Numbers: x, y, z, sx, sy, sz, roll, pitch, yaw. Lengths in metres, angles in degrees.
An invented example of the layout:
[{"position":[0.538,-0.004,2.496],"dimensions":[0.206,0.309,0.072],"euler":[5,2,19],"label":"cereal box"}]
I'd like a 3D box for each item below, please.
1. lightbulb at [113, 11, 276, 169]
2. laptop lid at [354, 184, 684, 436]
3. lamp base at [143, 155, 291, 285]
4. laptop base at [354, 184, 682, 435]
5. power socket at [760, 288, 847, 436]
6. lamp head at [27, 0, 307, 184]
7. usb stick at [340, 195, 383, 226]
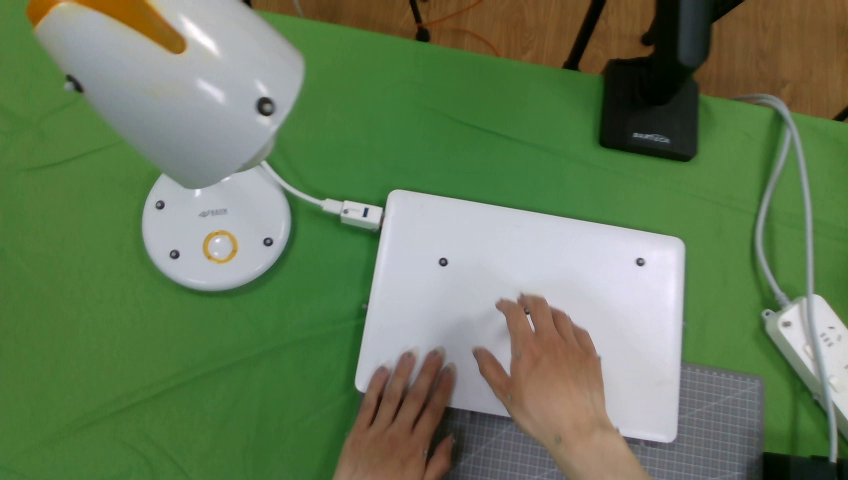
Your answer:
[{"position":[-0.133,-0.087,0.353],"dimensions":[0.059,0.109,0.059],"euler":[-20,46,22],"label":"lightbulb"},{"position":[0.114,0.074,0.677],"dimensions":[0.357,0.013,0.240],"euler":[11,76,-2],"label":"laptop lid"},{"position":[-0.232,-0.060,0.611],"dimensions":[0.161,0.181,0.178],"euler":[-20,75,-9],"label":"lamp base"},{"position":[0.114,0.075,0.689],"dimensions":[0.354,0.023,0.234],"euler":[10,77,-2],"label":"laptop base"},{"position":[0.479,0.156,0.687],"dimensions":[0.072,0.033,0.225],"euler":[-31,79,-12],"label":"power socket"},{"position":[-0.147,-0.109,0.338],"dimensions":[0.124,0.111,0.112],"euler":[41,71,-37],"label":"lamp head"},{"position":[-0.064,-0.032,0.690],"dimensions":[0.059,0.027,0.021],"euler":[13,69,-4],"label":"usb stick"}]
